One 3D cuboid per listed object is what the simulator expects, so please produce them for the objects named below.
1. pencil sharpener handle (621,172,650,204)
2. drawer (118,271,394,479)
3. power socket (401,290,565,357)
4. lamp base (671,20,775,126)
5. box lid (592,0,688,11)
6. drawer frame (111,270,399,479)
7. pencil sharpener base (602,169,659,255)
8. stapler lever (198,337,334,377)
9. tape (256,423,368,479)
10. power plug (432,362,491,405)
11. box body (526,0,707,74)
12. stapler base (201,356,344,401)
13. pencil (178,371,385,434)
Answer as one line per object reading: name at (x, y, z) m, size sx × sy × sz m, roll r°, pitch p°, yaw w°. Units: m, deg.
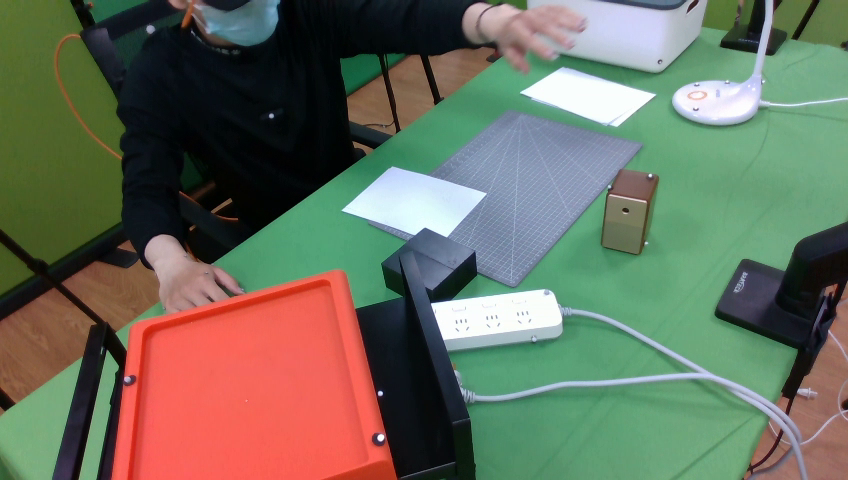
pencil sharpener handle at (0.328, -0.086, 0.940) m, size 0.036 × 0.068 × 0.030 m, roll 30°, pitch 49°, yaw 7°
drawer at (-0.141, 0.139, 0.509) m, size 0.195 × 0.073 × 0.210 m, roll -14°, pitch 41°, yaw -8°
power socket at (0.080, 0.113, 0.821) m, size 0.227 × 0.033 × 0.072 m, roll -6°, pitch 41°, yaw 0°
lamp base at (0.582, -0.332, 1.153) m, size 0.179 × 0.181 × 0.160 m, roll 2°, pitch 41°, yaw 7°
box lid at (0.441, -0.596, 1.383) m, size 0.368 × 0.015 × 0.264 m, roll 24°, pitch 49°, yaw 31°
drawer frame at (-0.140, 0.140, 0.506) m, size 0.202 × 0.083 × 0.212 m, roll -15°, pitch 41°, yaw -9°
pencil sharpener base at (0.312, -0.044, 0.913) m, size 0.061 × 0.107 × 0.077 m, roll 14°, pitch 45°, yaw 24°
stapler lever at (-0.142, 0.105, 0.541) m, size 0.118 × 0.040 × 0.026 m, roll -3°, pitch 43°, yaw 4°
tape at (-0.121, 0.262, 0.659) m, size 0.117 × 0.053 × 0.116 m, roll -4°, pitch 40°, yaw 4°
power plug at (0.044, 0.182, 0.759) m, size 0.073 × 0.035 × 0.052 m, roll 24°, pitch 41°, yaw -19°
box body at (0.450, -0.540, 1.430) m, size 0.361 × 0.161 × 0.255 m, roll 24°, pitch 50°, yaw 31°
stapler base at (-0.142, 0.123, 0.556) m, size 0.130 × 0.024 × 0.041 m, roll -2°, pitch 43°, yaw 3°
pencil at (-0.128, 0.141, 0.534) m, size 0.194 × 0.012 × 0.012 m, roll 13°, pitch 44°, yaw 7°
